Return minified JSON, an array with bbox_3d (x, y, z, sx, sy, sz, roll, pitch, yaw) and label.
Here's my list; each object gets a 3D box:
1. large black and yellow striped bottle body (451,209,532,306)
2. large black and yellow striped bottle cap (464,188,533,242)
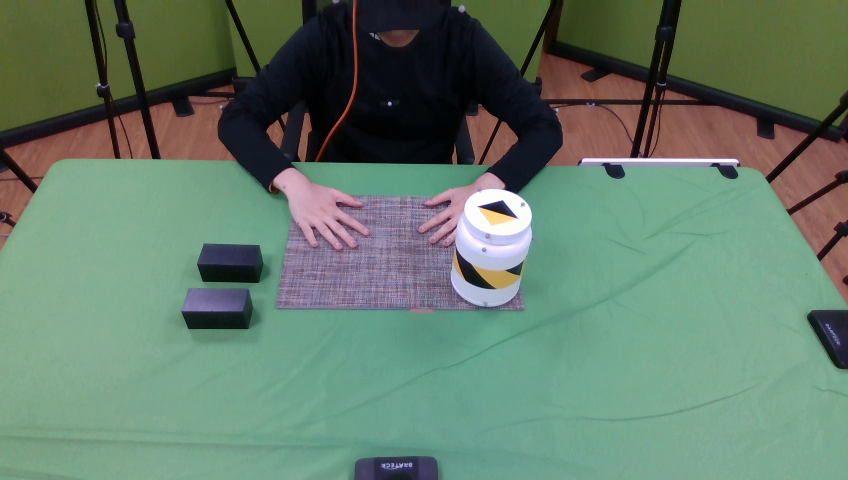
[{"bbox_3d":[0.119,0.014,1.074,0.131,0.185,0.130,2,46,-2],"label":"large black and yellow striped bottle body"},{"bbox_3d":[0.124,-0.044,1.014,0.115,0.019,0.114,2,47,-1],"label":"large black and yellow striped bottle cap"}]
